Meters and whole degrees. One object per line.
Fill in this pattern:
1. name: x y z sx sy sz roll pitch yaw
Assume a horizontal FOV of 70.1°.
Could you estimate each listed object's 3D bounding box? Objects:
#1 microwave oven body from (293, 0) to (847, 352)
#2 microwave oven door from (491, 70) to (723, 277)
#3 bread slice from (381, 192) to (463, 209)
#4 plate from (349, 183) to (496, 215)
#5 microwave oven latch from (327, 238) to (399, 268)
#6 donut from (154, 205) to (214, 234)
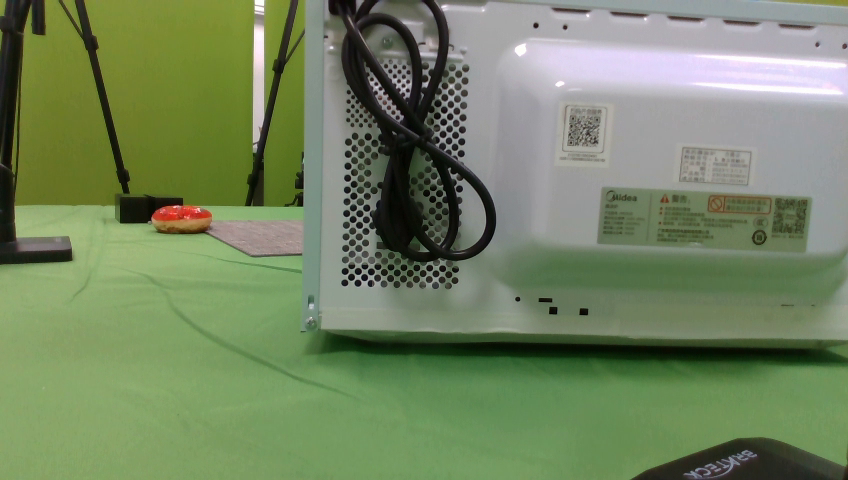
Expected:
1. microwave oven body: 0.122 -0.055 0.550 0.442 0.260 0.325 3 7 -5
2. microwave oven door: 0.228 -0.095 0.844 0.039 0.243 0.354 -3 8 -36
3. bread slice: 0.000 -0.056 0.848 0.105 0.019 0.131 -4 4 -12
4. plate: -0.001 -0.058 0.855 0.208 0.039 0.207 -2 5 1
5. microwave oven latch: -0.069 0.015 0.694 0.079 0.029 0.030 3 7 -3
6. donut: -0.426 -0.037 1.075 0.099 0.048 0.099 2 12 0
